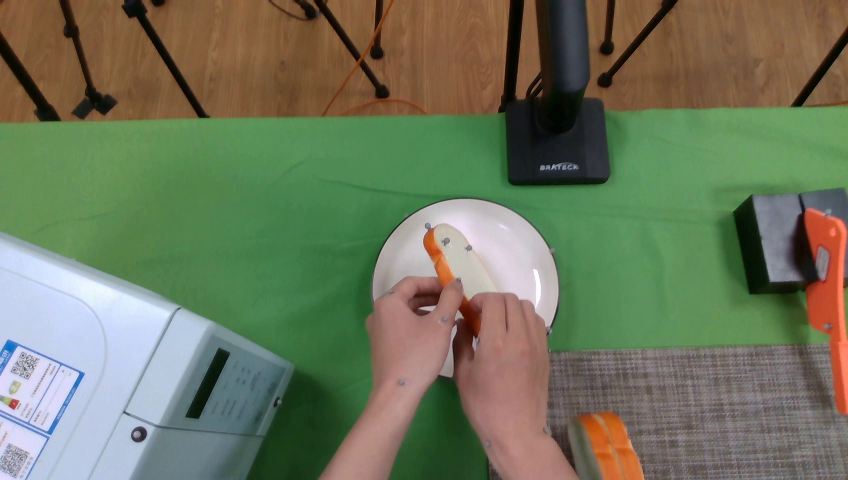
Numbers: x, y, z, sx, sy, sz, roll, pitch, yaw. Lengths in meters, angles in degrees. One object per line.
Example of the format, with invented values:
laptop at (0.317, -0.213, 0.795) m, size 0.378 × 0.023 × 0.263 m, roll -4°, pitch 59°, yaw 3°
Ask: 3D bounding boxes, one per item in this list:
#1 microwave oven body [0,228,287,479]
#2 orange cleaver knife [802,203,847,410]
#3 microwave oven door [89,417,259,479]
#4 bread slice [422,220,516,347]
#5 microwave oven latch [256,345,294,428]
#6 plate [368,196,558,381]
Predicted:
microwave oven body at (-0.371, 0.232, 0.516) m, size 0.325 × 0.262 × 0.440 m, roll 19°, pitch 74°, yaw 9°
orange cleaver knife at (0.415, 0.066, 0.626) m, size 0.012 × 0.077 × 0.211 m, roll -6°, pitch 92°, yaw 4°
microwave oven door at (-0.254, 0.314, 0.477) m, size 0.039 × 0.245 × 0.354 m, roll 19°, pitch 73°, yaw 8°
bread slice at (0.044, 0.040, 0.615) m, size 0.018 × 0.107 × 0.134 m, roll -33°, pitch 87°, yaw 19°
microwave oven latch at (-0.164, 0.154, 0.633) m, size 0.030 × 0.030 × 0.079 m, roll 21°, pitch 75°, yaw 9°
plate at (0.043, 0.053, 0.675) m, size 0.207 × 0.039 × 0.206 m, roll -1°, pitch 72°, yaw 2°
